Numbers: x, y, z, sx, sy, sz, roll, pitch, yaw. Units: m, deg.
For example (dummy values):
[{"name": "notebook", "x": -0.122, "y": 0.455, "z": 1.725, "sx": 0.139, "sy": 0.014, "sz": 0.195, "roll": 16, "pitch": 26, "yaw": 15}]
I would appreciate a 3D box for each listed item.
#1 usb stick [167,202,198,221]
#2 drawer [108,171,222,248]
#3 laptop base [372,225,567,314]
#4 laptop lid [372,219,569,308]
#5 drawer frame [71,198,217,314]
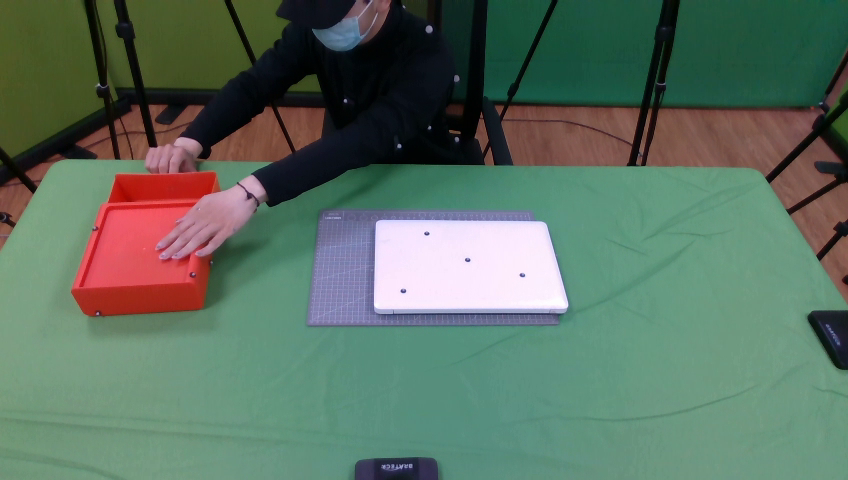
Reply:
[{"name": "usb stick", "x": -0.483, "y": -0.058, "z": 1.203, "sx": 0.059, "sy": 0.027, "sz": 0.021, "roll": 9, "pitch": 47, "yaw": 11}, {"name": "drawer", "x": -0.503, "y": -0.038, "z": 1.155, "sx": 0.195, "sy": 0.073, "sz": 0.210, "roll": -2, "pitch": 47, "yaw": -7}, {"name": "laptop base", "x": 0.080, "y": 0.049, "z": 1.159, "sx": 0.355, "sy": 0.023, "sz": 0.234, "roll": 0, "pitch": 43, "yaw": -4}, {"name": "laptop lid", "x": 0.081, "y": 0.039, "z": 1.152, "sx": 0.357, "sy": 0.013, "sz": 0.240, "roll": 2, "pitch": 44, "yaw": -3}, {"name": "drawer frame", "x": -0.493, "y": 0.023, "z": 1.096, "sx": 0.202, "sy": 0.083, "sz": 0.212, "roll": -3, "pitch": 47, "yaw": -8}]
